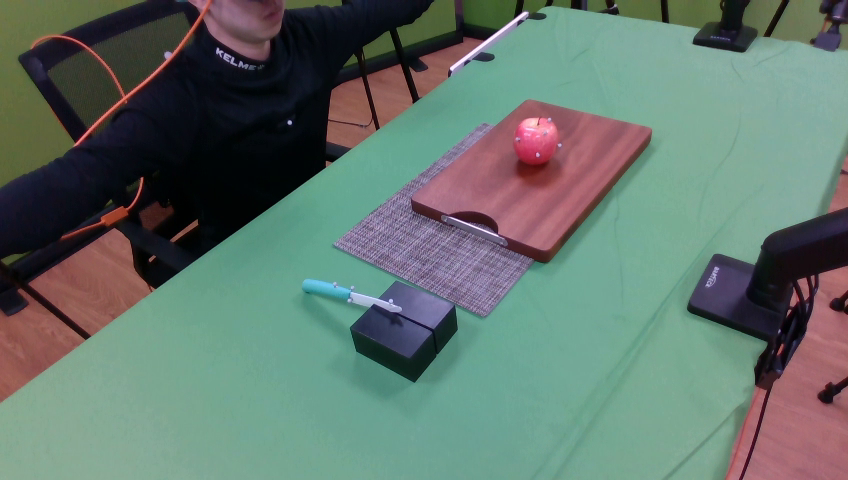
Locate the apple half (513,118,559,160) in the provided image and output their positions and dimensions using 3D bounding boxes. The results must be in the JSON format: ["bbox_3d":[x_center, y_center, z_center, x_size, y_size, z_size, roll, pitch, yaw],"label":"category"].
[{"bbox_3d":[0.203,-0.180,1.067,0.080,0.075,0.053,12,40,26],"label":"apple half"}]

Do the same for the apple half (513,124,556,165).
[{"bbox_3d":[0.185,-0.157,1.041,0.081,0.081,0.033,14,41,24],"label":"apple half"}]

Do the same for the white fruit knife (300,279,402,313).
[{"bbox_3d":[-0.107,0.078,0.847,0.205,0.027,0.016,8,41,39],"label":"white fruit knife"}]
